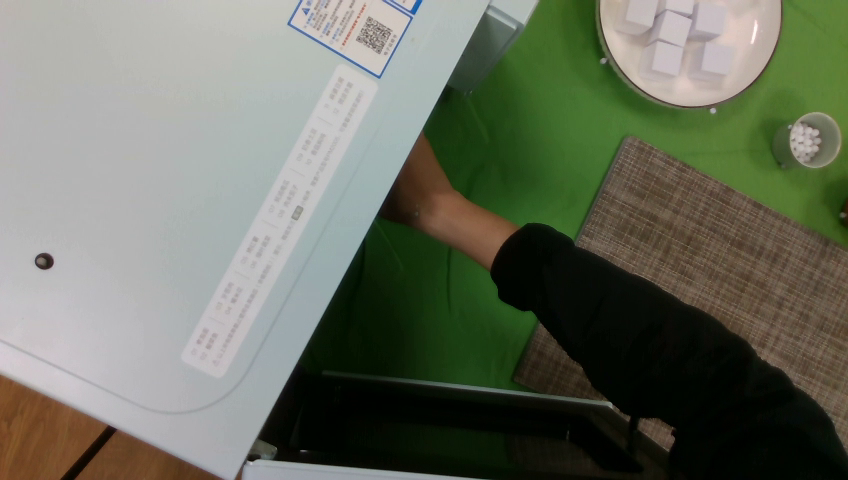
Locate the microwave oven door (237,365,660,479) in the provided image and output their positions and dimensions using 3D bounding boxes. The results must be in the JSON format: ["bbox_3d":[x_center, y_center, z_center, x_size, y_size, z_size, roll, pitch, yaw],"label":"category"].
[{"bbox_3d":[0.038,0.174,0.533,0.357,0.243,0.039,8,91,-7],"label":"microwave oven door"}]

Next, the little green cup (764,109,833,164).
[{"bbox_3d":[0.419,-0.114,0.682,0.061,0.038,0.061,0,92,-6],"label":"little green cup"}]

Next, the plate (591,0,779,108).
[{"bbox_3d":[0.279,-0.247,0.658,0.208,0.039,0.207,0,93,-7],"label":"plate"}]

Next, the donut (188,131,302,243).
[{"bbox_3d":[-0.158,-0.046,0.536,0.099,0.048,0.099,-1,95,-6],"label":"donut"}]

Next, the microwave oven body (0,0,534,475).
[{"bbox_3d":[-0.155,-0.106,0.500,0.327,0.259,0.441,28,90,-8],"label":"microwave oven body"}]

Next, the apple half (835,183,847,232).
[{"bbox_3d":[0.497,-0.038,0.678,0.053,0.074,0.081,-1,97,-2],"label":"apple half"}]

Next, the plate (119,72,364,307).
[{"bbox_3d":[-0.161,-0.044,0.550,0.209,0.038,0.209,0,93,-7],"label":"plate"}]

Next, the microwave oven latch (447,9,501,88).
[{"bbox_3d":[0.048,-0.197,0.615,0.030,0.029,0.079,31,90,-8],"label":"microwave oven latch"}]
